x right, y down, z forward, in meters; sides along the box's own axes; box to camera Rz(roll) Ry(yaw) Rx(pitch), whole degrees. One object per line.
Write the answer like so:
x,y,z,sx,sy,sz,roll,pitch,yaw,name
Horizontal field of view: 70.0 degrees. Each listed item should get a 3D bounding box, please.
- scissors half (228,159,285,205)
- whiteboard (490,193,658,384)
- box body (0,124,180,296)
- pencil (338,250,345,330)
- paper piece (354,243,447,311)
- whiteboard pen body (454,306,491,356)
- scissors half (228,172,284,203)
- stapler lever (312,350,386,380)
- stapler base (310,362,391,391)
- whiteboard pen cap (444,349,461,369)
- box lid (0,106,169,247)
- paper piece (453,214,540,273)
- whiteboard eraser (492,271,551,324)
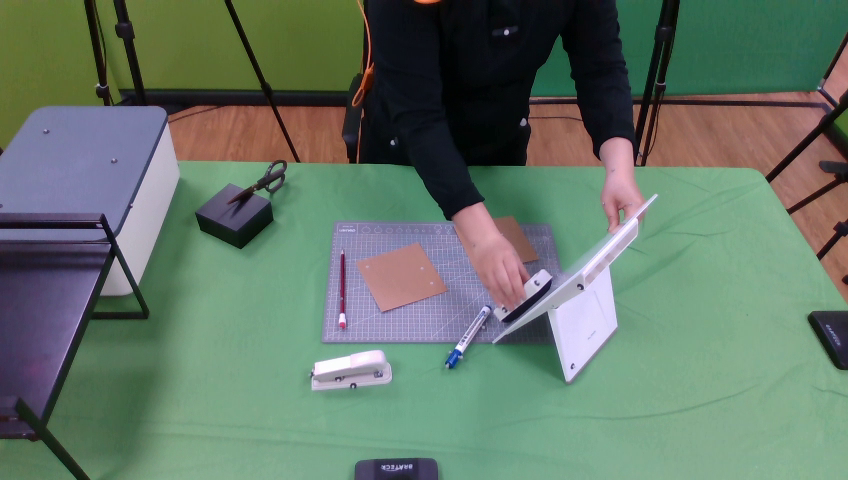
-0.335,-0.116,1.217,0.013,0.040,0.175,26,46,12,scissors half
0.278,0.101,0.969,0.217,0.306,0.143,-36,79,-33,whiteboard
-0.628,-0.075,1.122,0.254,0.161,0.361,1,46,-4,box body
-0.152,0.086,1.107,0.012,0.012,0.192,-2,44,-6,pencil
-0.045,0.067,1.136,0.136,0.009,0.137,-13,46,-23,paper piece
0.079,0.164,1.046,0.017,0.017,0.140,26,49,19,whiteboard pen body
-0.339,-0.101,1.229,0.013,0.040,0.175,22,28,15,scissors half
-0.120,0.199,0.963,0.118,0.040,0.026,-4,44,-8,stapler lever
-0.119,0.215,0.980,0.131,0.024,0.041,-5,44,-7,stapler base
0.048,0.197,1.010,0.018,0.018,0.033,23,50,17,whiteboard pen cap
-0.624,-0.125,1.067,0.263,0.015,0.369,0,46,-3,box lid
0.142,0.003,1.212,0.135,0.004,0.135,-11,48,-13,paper piece
0.168,0.101,1.027,0.041,0.113,0.055,50,43,10,whiteboard eraser
